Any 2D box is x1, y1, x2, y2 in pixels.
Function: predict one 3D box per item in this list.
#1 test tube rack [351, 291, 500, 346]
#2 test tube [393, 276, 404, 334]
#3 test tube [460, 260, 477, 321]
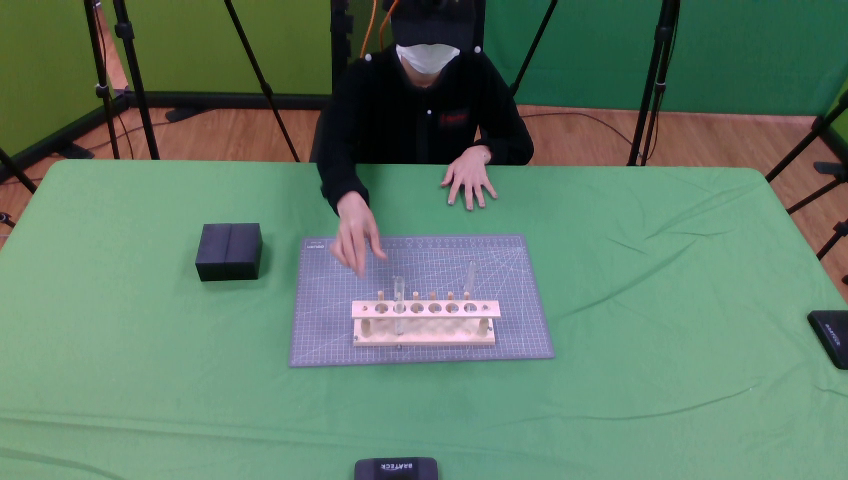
[{"bbox_3d":[0.000,0.129,1.026,0.242,0.085,0.066,0,46,-4],"label":"test tube rack"},{"bbox_3d":[-0.041,0.108,0.973,0.017,0.151,0.017,2,50,-2],"label":"test tube"},{"bbox_3d":[0.073,0.086,1.011,0.017,0.151,0.017,2,46,-2],"label":"test tube"}]
